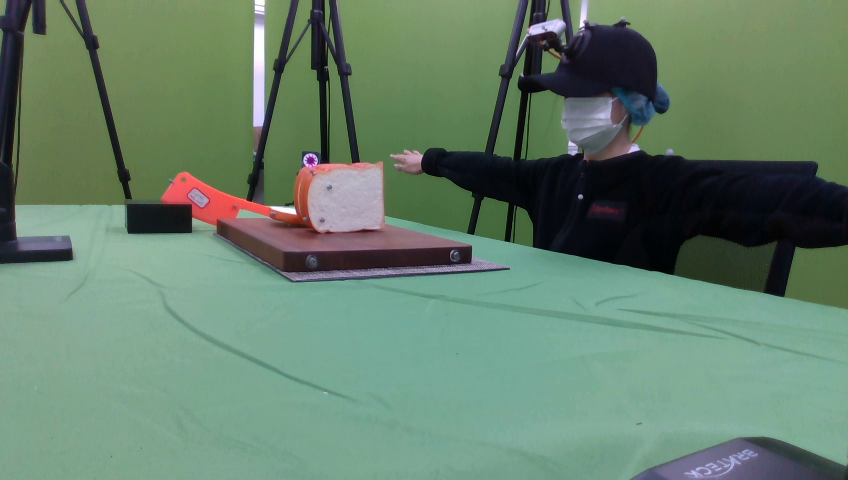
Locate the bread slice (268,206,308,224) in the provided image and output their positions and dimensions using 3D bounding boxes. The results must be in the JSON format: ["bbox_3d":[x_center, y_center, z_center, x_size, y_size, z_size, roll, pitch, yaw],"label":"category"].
[{"bbox_3d":[-0.195,-0.040,1.015,0.132,0.019,0.104,2,8,-37],"label":"bread slice"}]

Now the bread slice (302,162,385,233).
[{"bbox_3d":[-0.120,-0.059,0.918,0.135,0.107,0.018,-12,15,-34],"label":"bread slice"}]

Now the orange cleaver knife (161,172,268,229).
[{"bbox_3d":[-0.372,-0.061,1.121,0.212,0.077,0.012,20,-5,-30],"label":"orange cleaver knife"}]
